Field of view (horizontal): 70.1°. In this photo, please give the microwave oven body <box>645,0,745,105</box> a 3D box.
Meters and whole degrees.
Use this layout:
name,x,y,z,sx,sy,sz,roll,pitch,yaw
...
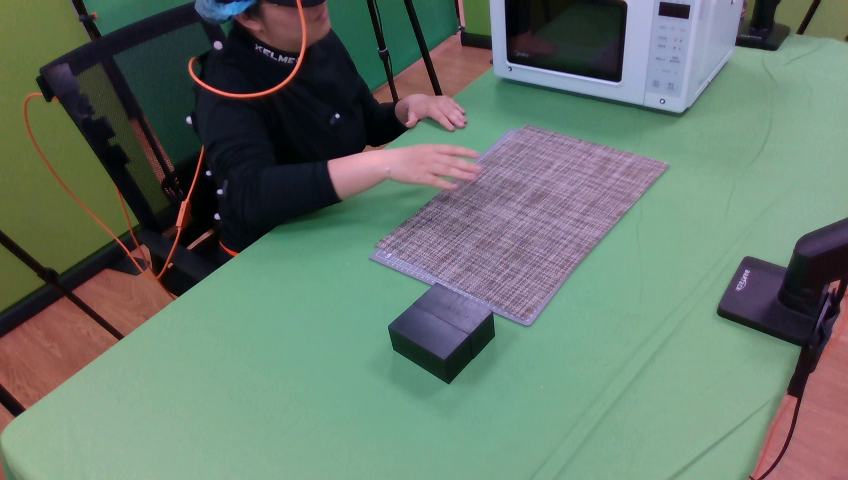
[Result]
name,x,y,z,sx,sy,sz,roll,pitch,yaw
microwave oven body,0.416,-0.486,1.290,0.438,0.261,0.327,21,50,33

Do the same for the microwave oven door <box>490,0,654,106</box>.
name,x,y,z,sx,sy,sz,roll,pitch,yaw
microwave oven door,0.292,-0.420,1.228,0.353,0.245,0.039,22,49,32

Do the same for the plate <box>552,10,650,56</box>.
name,x,y,z,sx,sy,sz,roll,pitch,yaw
plate,0.391,-0.454,1.339,0.209,0.038,0.208,-5,39,5

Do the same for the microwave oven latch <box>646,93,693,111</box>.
name,x,y,z,sx,sy,sz,roll,pitch,yaw
microwave oven latch,0.477,-0.273,1.177,0.078,0.029,0.030,22,50,33

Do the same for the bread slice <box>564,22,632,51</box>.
name,x,y,z,sx,sy,sz,roll,pitch,yaw
bread slice,0.394,-0.453,1.344,0.105,0.019,0.130,-36,42,-26
